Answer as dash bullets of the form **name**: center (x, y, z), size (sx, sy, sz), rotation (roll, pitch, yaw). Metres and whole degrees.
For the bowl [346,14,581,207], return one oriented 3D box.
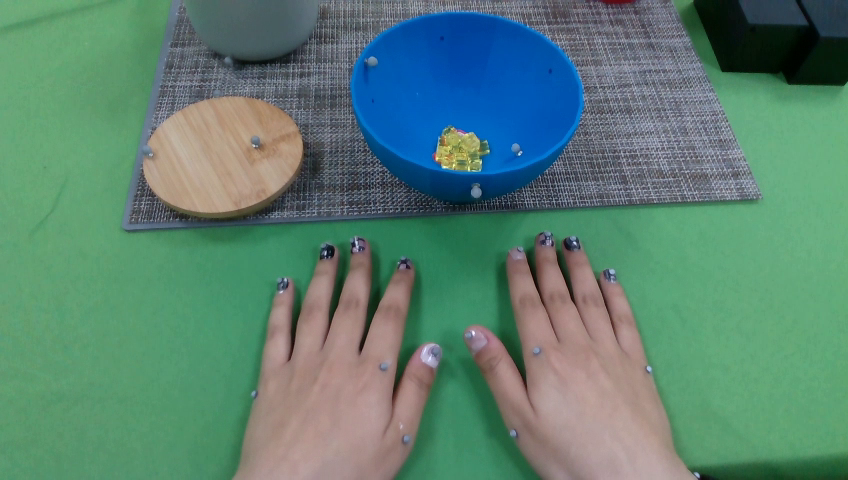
- **bowl**: center (0.025, -0.076, 0.419), size (0.151, 0.077, 0.150), rotation (2, 57, -2)

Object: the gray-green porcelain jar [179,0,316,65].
- **gray-green porcelain jar**: center (-0.141, -0.211, 0.469), size (0.106, 0.127, 0.105), rotation (1, 56, -2)

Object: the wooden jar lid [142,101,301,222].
- **wooden jar lid**: center (-0.142, -0.055, 0.431), size (0.108, 0.021, 0.107), rotation (1, 56, -1)
